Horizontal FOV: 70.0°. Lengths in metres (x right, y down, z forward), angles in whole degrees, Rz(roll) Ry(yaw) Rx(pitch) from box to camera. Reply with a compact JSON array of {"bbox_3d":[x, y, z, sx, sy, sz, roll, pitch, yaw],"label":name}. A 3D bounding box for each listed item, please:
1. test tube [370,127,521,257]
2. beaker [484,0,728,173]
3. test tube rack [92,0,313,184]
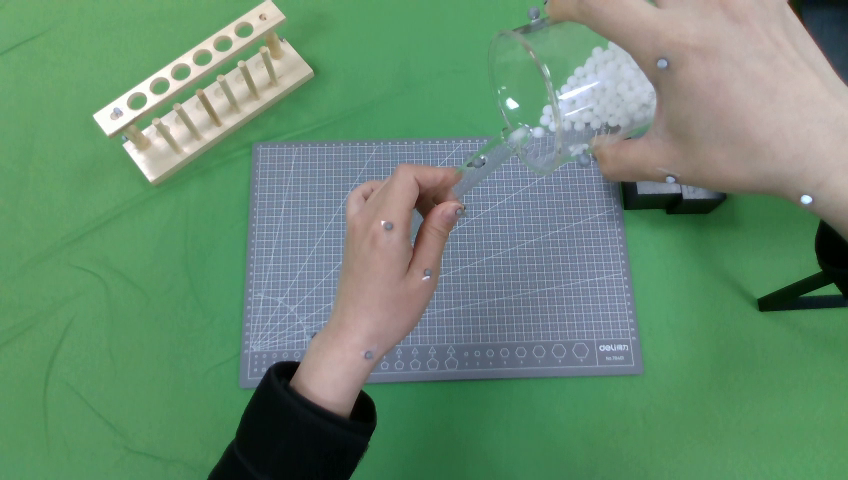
[{"bbox_3d":[0.007,-0.025,0.391,0.017,0.150,0.017,20,52,-29],"label":"test tube"},{"bbox_3d":[0.091,-0.085,0.309,0.100,0.084,0.073,-23,77,-8],"label":"beaker"},{"bbox_3d":[-0.257,-0.177,0.730,0.242,0.085,0.066,-38,77,-11],"label":"test tube rack"}]
